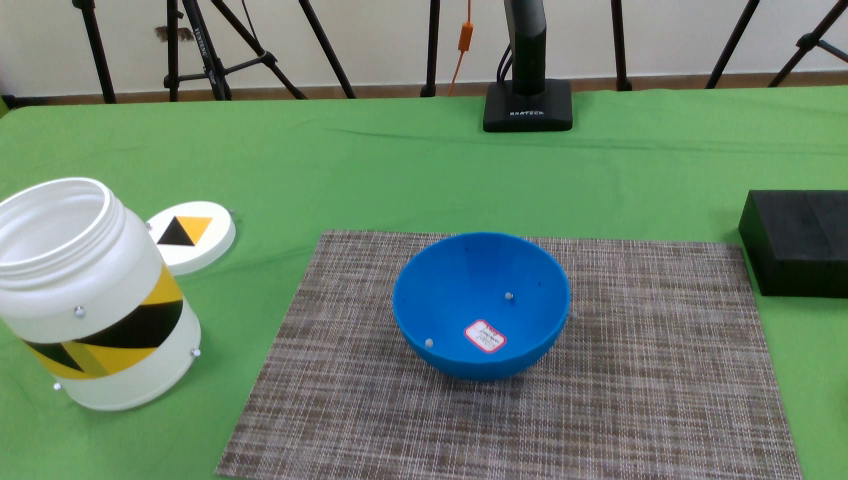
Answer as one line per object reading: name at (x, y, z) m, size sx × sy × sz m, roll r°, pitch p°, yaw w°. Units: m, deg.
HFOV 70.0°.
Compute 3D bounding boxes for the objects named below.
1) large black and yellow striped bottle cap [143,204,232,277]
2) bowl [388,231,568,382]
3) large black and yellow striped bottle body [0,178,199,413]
large black and yellow striped bottle cap at (-0.286, -0.002, 0.716) m, size 0.115 × 0.019 × 0.114 m, roll -3°, pitch 42°, yaw 3°
bowl at (0.048, 0.071, 0.533) m, size 0.151 × 0.077 × 0.150 m, roll -4°, pitch 43°, yaw 4°
large black and yellow striped bottle body at (-0.292, 0.050, 0.534) m, size 0.131 × 0.186 × 0.129 m, roll -4°, pitch 43°, yaw 4°
